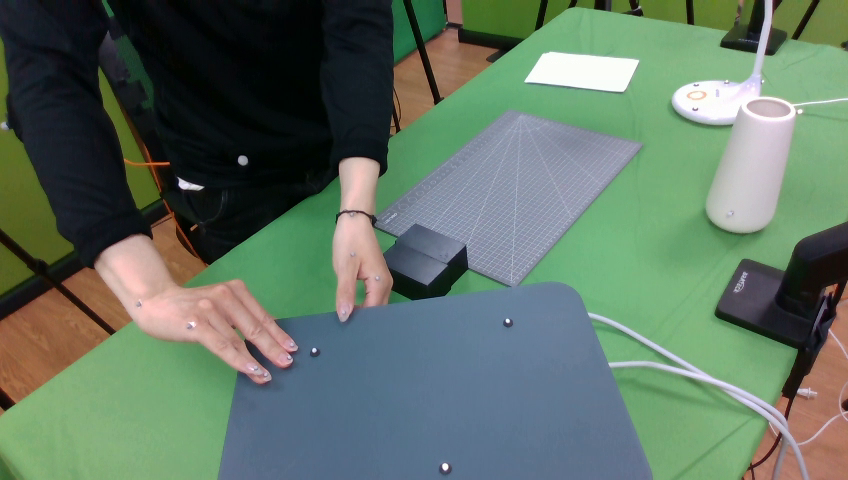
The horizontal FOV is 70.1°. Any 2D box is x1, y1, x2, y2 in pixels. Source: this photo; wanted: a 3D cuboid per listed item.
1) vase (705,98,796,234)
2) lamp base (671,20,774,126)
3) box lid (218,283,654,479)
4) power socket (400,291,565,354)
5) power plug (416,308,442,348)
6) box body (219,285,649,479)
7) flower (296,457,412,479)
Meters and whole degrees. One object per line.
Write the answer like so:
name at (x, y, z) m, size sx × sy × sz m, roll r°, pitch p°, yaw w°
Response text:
vase at (0.480, -0.104, 0.888) m, size 0.098 × 0.201 × 0.097 m, roll -4°, pitch 42°, yaw 4°
lamp base at (0.581, -0.332, 1.154) m, size 0.179 × 0.181 × 0.160 m, roll 2°, pitch 42°, yaw 7°
box lid at (-0.004, 0.155, 0.571) m, size 0.372 × 0.015 × 0.261 m, roll -8°, pitch 40°, yaw -1°
power socket at (0.079, 0.111, 0.823) m, size 0.227 × 0.033 × 0.072 m, roll -5°, pitch 41°, yaw 1°
power plug at (0.004, 0.121, 0.787) m, size 0.035 × 0.053 × 0.072 m, roll 3°, pitch 46°, yaw 9°
box body at (0.005, 0.210, 0.618) m, size 0.364 × 0.161 × 0.252 m, roll -8°, pitch 40°, yaw -1°
flower at (0.017, 0.270, 0.655) m, size 0.360 × 0.038 × 0.044 m, roll 3°, pitch 18°, yaw 21°
